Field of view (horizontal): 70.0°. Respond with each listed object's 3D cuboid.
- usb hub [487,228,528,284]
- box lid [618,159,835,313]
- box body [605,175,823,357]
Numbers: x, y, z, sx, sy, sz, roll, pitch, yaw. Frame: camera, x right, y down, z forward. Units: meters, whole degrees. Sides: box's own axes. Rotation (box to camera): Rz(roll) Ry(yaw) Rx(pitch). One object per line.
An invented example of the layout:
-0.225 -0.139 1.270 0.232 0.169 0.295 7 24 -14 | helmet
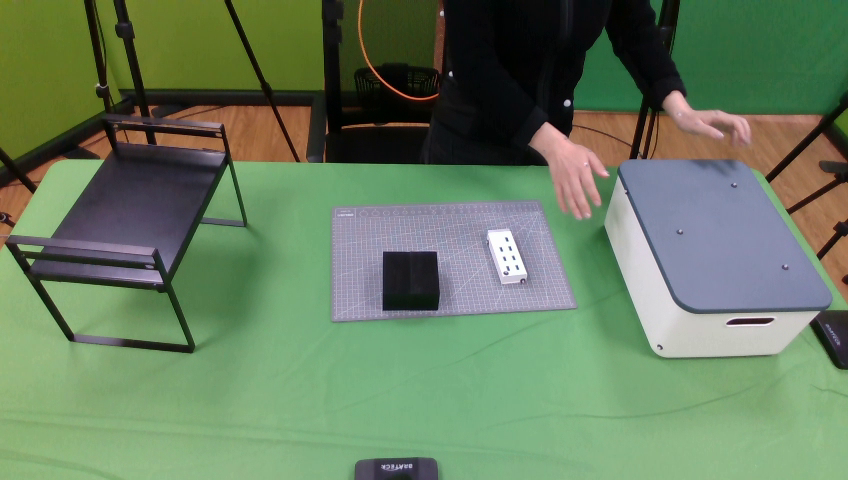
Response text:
0.159 0.029 1.173 0.049 0.025 0.124 -6 47 -9 | usb hub
0.508 -0.024 1.056 0.263 0.015 0.369 -1 46 -5 | box lid
0.505 0.028 1.108 0.254 0.161 0.361 -1 46 -4 | box body
